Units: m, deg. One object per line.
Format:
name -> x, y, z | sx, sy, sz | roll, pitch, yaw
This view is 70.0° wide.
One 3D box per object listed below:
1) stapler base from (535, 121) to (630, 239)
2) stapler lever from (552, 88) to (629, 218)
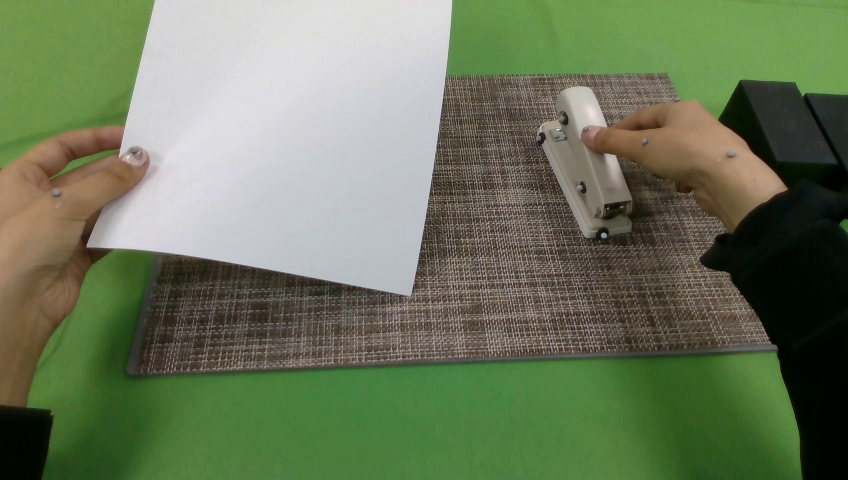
stapler base -> 0.131, -0.060, 0.507 | 0.041, 0.024, 0.129 | -11, 56, -7
stapler lever -> 0.133, -0.073, 0.485 | 0.027, 0.040, 0.117 | -11, 56, -7
